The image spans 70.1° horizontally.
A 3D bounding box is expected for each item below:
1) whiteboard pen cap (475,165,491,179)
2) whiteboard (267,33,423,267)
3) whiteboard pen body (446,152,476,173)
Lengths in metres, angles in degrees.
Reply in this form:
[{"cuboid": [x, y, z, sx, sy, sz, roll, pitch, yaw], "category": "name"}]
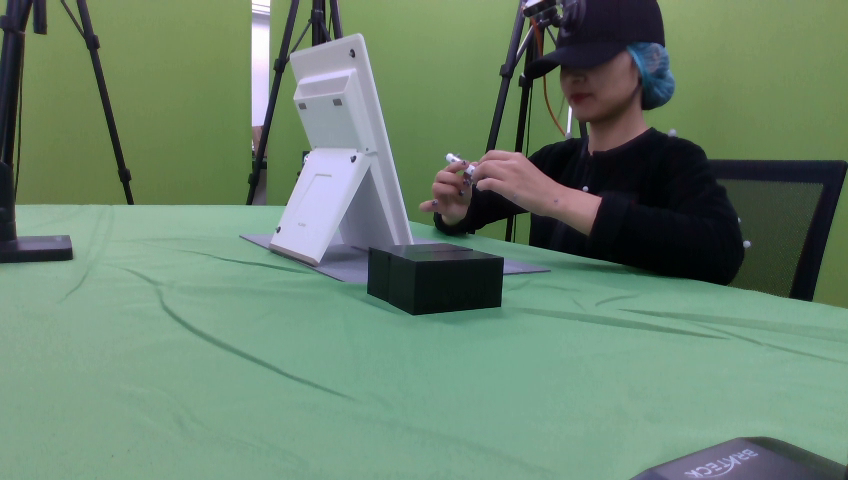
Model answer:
[{"cuboid": [0.092, -0.107, 0.954, 0.018, 0.018, 0.033, 0, 19, -19], "category": "whiteboard pen cap"}, {"cuboid": [-0.153, -0.098, 0.819, 0.144, 0.305, 0.216, -25, 21, -29], "category": "whiteboard"}, {"cuboid": [0.066, -0.129, 1.023, 0.017, 0.017, 0.140, 0, 19, -18], "category": "whiteboard pen body"}]
